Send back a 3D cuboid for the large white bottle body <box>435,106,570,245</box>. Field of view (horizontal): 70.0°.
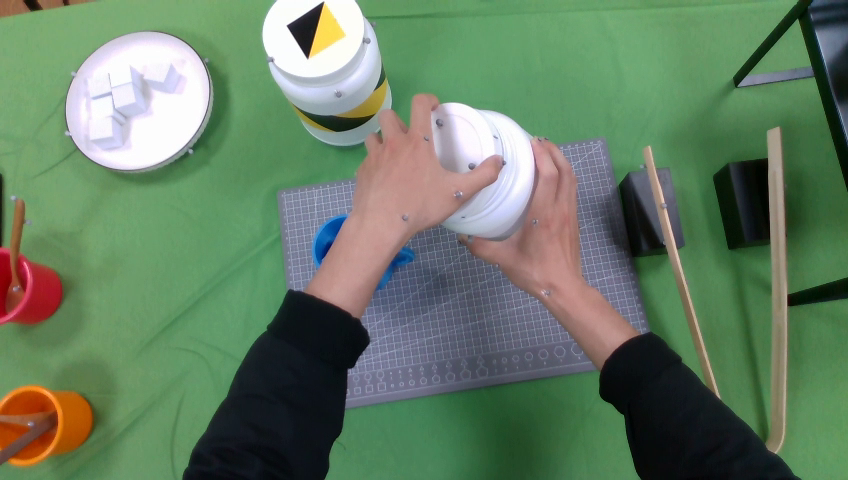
[{"bbox_3d":[0.072,-0.068,0.662,0.130,0.186,0.130,-4,81,30],"label":"large white bottle body"}]

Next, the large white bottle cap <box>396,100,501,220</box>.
[{"bbox_3d":[0.021,-0.077,0.583,0.114,0.018,0.114,-5,83,36],"label":"large white bottle cap"}]

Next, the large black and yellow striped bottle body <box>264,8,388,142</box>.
[{"bbox_3d":[-0.120,-0.214,0.759,0.131,0.185,0.130,-1,78,4],"label":"large black and yellow striped bottle body"}]

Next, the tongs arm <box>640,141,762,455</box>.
[{"bbox_3d":[0.324,0.066,0.713,0.051,0.026,0.384,-13,90,-2],"label":"tongs arm"}]

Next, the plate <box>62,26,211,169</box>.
[{"bbox_3d":[-0.395,-0.195,0.847,0.207,0.039,0.206,-1,78,4],"label":"plate"}]

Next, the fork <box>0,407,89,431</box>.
[{"bbox_3d":[-0.511,0.206,0.714,0.209,0.018,0.028,18,74,-37],"label":"fork"}]

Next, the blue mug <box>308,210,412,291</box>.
[{"bbox_3d":[-0.073,0.015,0.746,0.116,0.106,0.082,-2,78,3],"label":"blue mug"}]

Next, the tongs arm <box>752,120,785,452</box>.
[{"bbox_3d":[0.405,0.053,0.713,0.028,0.028,0.387,0,90,-5],"label":"tongs arm"}]

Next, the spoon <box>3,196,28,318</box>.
[{"bbox_3d":[-0.509,0.025,0.755,0.041,0.021,0.194,36,126,13],"label":"spoon"}]

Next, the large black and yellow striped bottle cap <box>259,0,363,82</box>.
[{"bbox_3d":[-0.127,-0.234,0.678,0.115,0.019,0.114,0,79,2],"label":"large black and yellow striped bottle cap"}]

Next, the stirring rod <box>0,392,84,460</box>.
[{"bbox_3d":[-0.482,0.239,0.712,0.014,0.006,0.176,37,40,7],"label":"stirring rod"}]
